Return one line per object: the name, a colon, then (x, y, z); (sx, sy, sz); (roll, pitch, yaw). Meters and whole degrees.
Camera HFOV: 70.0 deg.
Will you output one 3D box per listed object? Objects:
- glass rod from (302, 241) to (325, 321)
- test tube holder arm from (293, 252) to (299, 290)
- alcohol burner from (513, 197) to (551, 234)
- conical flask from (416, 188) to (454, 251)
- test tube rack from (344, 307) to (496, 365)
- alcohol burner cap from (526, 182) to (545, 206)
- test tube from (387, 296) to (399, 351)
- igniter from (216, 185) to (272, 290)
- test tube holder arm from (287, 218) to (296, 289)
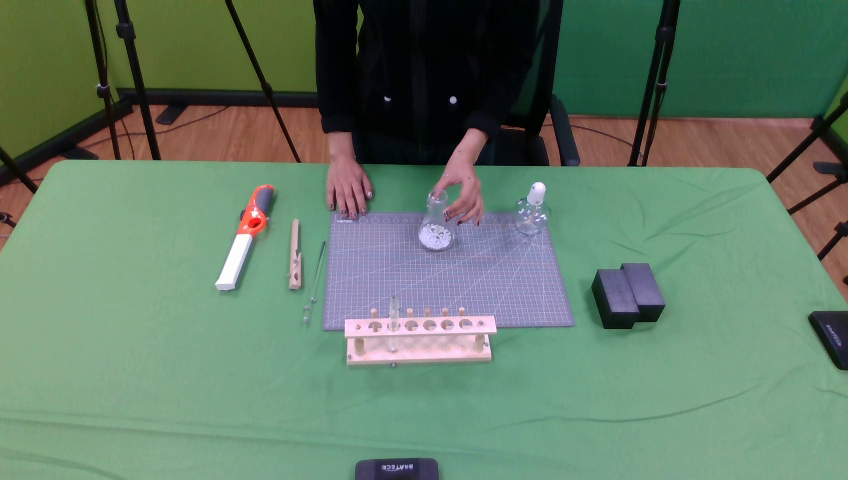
glass rod: (-0.204, 0.071, 1.124); (0.008, 0.008, 0.198); (4, 43, 0)
test tube holder arm: (-0.241, 0.056, 1.131); (0.010, 0.015, 0.087); (25, 35, -33)
alcohol burner: (0.220, -0.069, 1.217); (0.078, 0.119, 0.077); (3, 47, -3)
conical flask: (0.023, -0.043, 1.162); (0.075, 0.122, 0.075); (1, 48, -1)
test tube rack: (-0.009, 0.154, 1.007); (0.242, 0.085, 0.066); (-1, 46, -5)
alcohol burner cap: (0.222, -0.092, 1.190); (0.034, 0.048, 0.033); (2, 54, -3)
test tube: (-0.049, 0.134, 0.953); (0.017, 0.151, 0.017); (2, 51, -3)
igniter: (-0.347, -0.014, 1.182); (0.057, 0.025, 0.275); (-1, 45, 8)
test tube holder arm: (-0.253, 0.022, 1.158); (0.013, 0.015, 0.177); (24, 36, -34)
